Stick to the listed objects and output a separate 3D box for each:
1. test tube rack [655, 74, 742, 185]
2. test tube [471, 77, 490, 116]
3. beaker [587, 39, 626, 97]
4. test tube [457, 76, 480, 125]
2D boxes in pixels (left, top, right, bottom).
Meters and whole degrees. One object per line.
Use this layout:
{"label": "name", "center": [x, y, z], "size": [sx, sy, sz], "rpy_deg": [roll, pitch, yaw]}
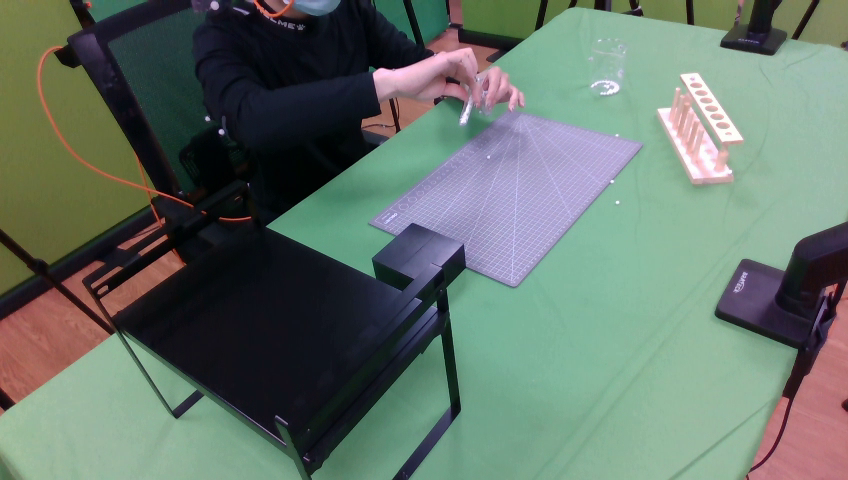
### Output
{"label": "test tube rack", "center": [0.488, -0.205, 1.093], "size": [0.067, 0.085, 0.241], "rpy_deg": [-3, 41, 5]}
{"label": "test tube", "center": [0.107, -0.265, 1.128], "size": [0.017, 0.151, 0.017], "rpy_deg": [-2, 79, 13]}
{"label": "beaker", "center": [0.386, -0.361, 1.280], "size": [0.074, 0.101, 0.083], "rpy_deg": [-22, 43, -15]}
{"label": "test tube", "center": [0.074, -0.232, 1.002], "size": [0.017, 0.017, 0.150], "rpy_deg": [4, 41, 13]}
